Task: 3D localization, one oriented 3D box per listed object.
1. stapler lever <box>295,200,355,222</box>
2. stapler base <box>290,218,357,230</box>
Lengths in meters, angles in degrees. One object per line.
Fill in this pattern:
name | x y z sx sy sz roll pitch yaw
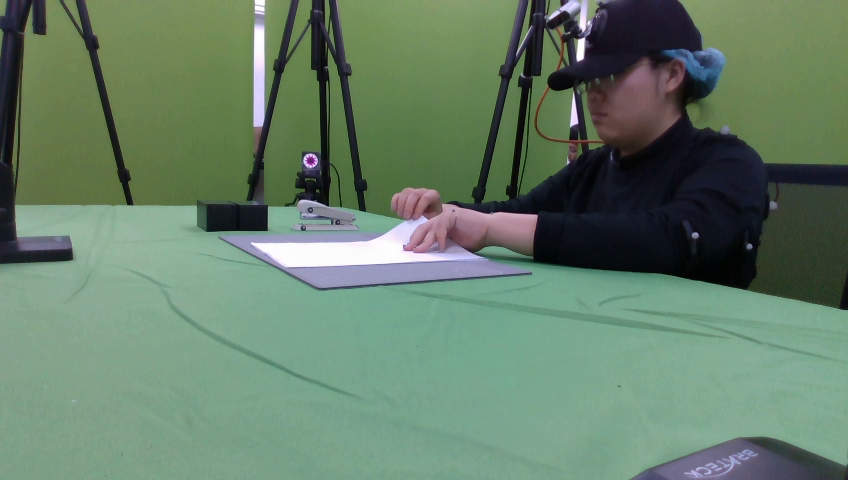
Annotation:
stapler lever | -0.196 -0.058 1.199 0.118 0.040 0.026 2 10 -25
stapler base | -0.199 -0.033 1.201 0.131 0.024 0.041 2 10 -25
